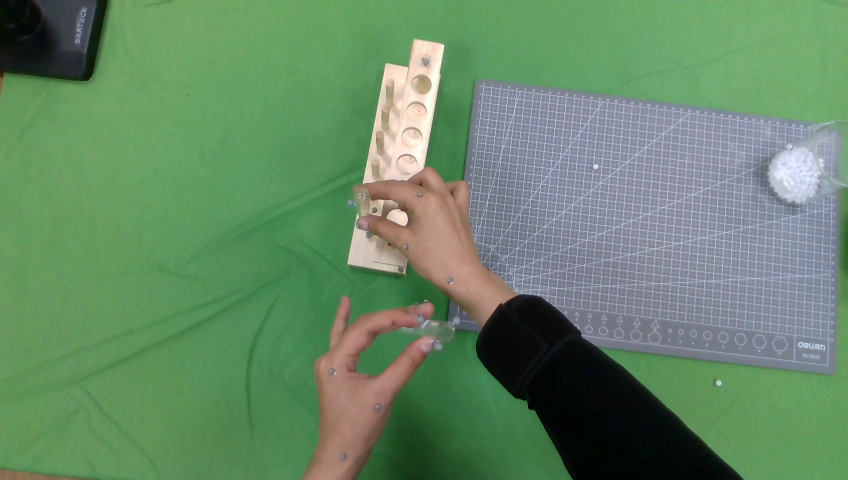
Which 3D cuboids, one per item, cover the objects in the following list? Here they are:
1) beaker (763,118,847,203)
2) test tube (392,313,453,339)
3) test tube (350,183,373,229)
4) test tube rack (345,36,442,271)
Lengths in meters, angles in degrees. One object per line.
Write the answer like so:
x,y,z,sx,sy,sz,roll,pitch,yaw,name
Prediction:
0.437,-0.087,0.678,0.084,0.100,0.074,44,82,6,beaker
-0.005,0.070,0.504,0.017,0.150,0.017,1,84,-15,test tube
-0.062,-0.032,0.611,0.017,0.151,0.017,1,80,-3,test tube
-0.034,-0.094,0.666,0.067,0.085,0.241,10,82,-1,test tube rack
